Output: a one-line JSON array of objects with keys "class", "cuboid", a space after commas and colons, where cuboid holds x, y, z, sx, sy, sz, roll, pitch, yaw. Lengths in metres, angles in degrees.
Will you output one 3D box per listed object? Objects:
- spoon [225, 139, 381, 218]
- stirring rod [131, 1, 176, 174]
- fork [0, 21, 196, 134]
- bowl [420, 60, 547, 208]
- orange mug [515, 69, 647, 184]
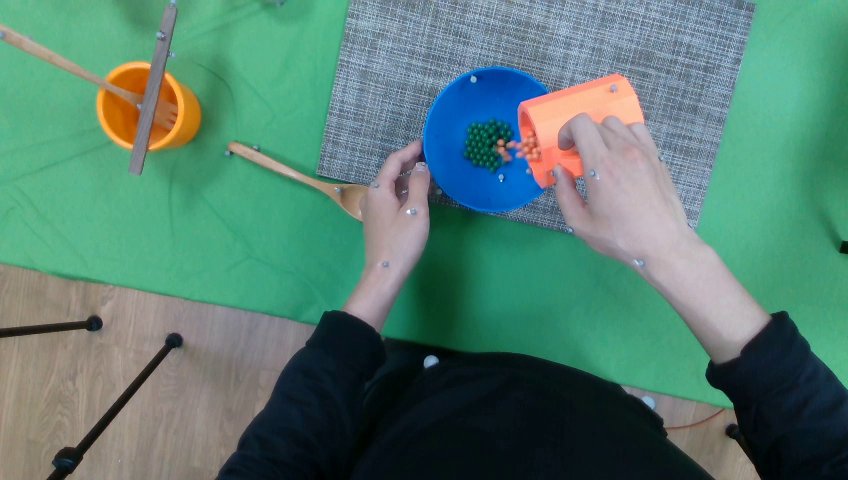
[{"class": "spoon", "cuboid": [-0.139, -0.076, 0.697, 0.194, 0.021, 0.042, 23, 110, -4]}, {"class": "stirring rod", "cuboid": [-0.277, -0.154, 0.619, 0.014, 0.006, 0.176, 14, 97, -1]}, {"class": "fork", "cuboid": [-0.330, -0.163, 0.619, 0.209, 0.018, 0.028, 27, 100, -47]}, {"class": "bowl", "cuboid": [0.070, -0.111, 0.665, 0.151, 0.076, 0.151, 0, 98, 0]}, {"class": "orange mug", "cuboid": [0.148, -0.100, 0.569, 0.101, 0.125, 0.084, -15, 119, 3]}]
